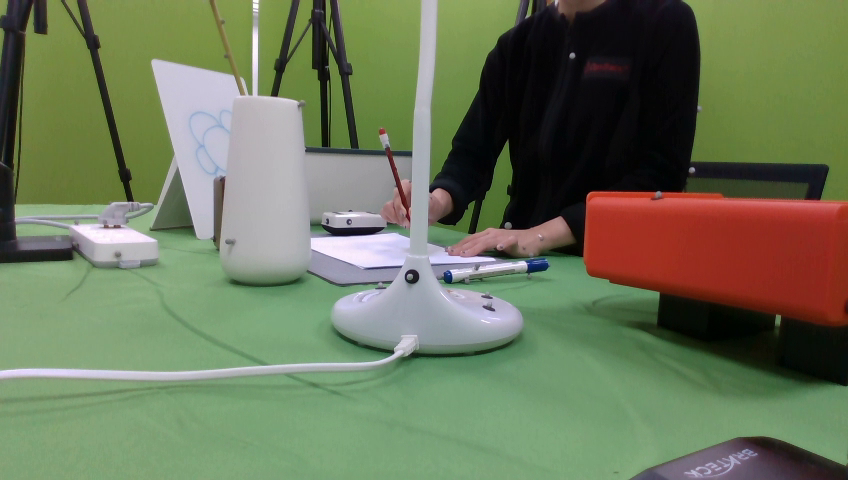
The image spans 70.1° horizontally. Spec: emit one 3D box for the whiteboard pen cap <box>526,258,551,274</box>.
[{"bbox_3d":[0.141,0.033,0.759,0.033,0.018,0.018,-7,11,-26],"label":"whiteboard pen cap"}]

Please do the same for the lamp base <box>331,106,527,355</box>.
[{"bbox_3d":[0.006,-0.012,0.478,0.161,0.180,0.179,2,10,2],"label":"lamp base"}]

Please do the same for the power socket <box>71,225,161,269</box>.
[{"bbox_3d":[-0.408,0.004,0.793,0.072,0.032,0.225,-2,8,-38],"label":"power socket"}]

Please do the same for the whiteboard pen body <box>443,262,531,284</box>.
[{"bbox_3d":[0.087,0.038,0.734,0.141,0.017,0.017,-5,10,-27],"label":"whiteboard pen body"}]

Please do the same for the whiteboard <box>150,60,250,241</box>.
[{"bbox_3d":[-0.408,-0.139,1.093,0.143,0.305,0.218,-15,-1,26],"label":"whiteboard"}]

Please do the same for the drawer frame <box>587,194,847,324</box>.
[{"bbox_3d":[0.286,0.004,0.508,0.203,0.082,0.212,-1,6,-30],"label":"drawer frame"}]

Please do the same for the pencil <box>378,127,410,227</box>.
[{"bbox_3d":[-0.034,-0.072,0.893,0.012,0.194,0.012,-17,9,3],"label":"pencil"}]

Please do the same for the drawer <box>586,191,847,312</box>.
[{"bbox_3d":[0.281,0.001,0.513,0.195,0.073,0.210,-1,8,-29],"label":"drawer"}]

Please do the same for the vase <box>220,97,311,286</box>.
[{"bbox_3d":[-0.172,-0.052,0.662,0.098,0.200,0.098,3,8,0],"label":"vase"}]

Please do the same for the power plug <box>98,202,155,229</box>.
[{"bbox_3d":[-0.416,-0.027,0.848,0.073,0.052,0.035,0,8,-28],"label":"power plug"}]

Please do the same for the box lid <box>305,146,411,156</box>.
[{"bbox_3d":[-0.229,-0.200,1.360,0.373,0.015,0.262,-3,9,-33],"label":"box lid"}]

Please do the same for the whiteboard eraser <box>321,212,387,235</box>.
[{"bbox_3d":[-0.128,-0.031,1.108,0.113,0.042,0.055,-3,7,-38],"label":"whiteboard eraser"}]

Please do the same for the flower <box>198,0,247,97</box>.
[{"bbox_3d":[-0.187,-0.133,0.648,0.038,0.362,0.044,-1,22,43],"label":"flower"}]

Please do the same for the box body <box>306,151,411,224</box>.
[{"bbox_3d":[-0.230,-0.126,1.371,0.366,0.160,0.253,-2,8,-33],"label":"box body"}]

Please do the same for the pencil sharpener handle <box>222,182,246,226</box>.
[{"bbox_3d":[-0.289,-0.055,0.912,0.036,0.067,0.030,-3,9,-29],"label":"pencil sharpener handle"}]

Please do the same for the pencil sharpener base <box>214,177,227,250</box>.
[{"bbox_3d":[-0.265,-0.036,0.870,0.061,0.107,0.076,-2,8,-29],"label":"pencil sharpener base"}]
